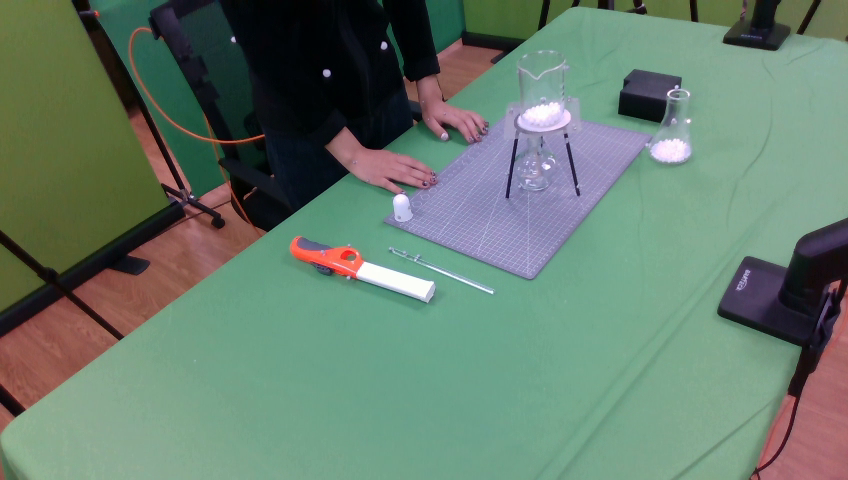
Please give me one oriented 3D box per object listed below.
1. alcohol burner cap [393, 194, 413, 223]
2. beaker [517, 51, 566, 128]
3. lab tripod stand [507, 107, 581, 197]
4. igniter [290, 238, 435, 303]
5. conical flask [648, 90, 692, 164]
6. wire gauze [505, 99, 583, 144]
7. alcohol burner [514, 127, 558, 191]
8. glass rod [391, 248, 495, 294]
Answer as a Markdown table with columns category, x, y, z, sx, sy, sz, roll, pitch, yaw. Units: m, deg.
| category | x | y | z | sx | sy | sz | roll | pitch | yaw |
| --- | --- | --- | --- | --- | --- | --- | --- | --- | --- |
| alcohol burner cap | -0.038 | -0.056 | 1.038 | 0.034 | 0.048 | 0.033 | -5 | 40 | 5 |
| beaker | 0.186 | -0.235 | 0.957 | 0.073 | 0.101 | 0.084 | 4 | 42 | 18 |
| lab tripod stand | 0.201 | -0.151 | 1.033 | 0.148 | 0.132 | 0.147 | -7 | 39 | 6 |
| igniter | -0.106 | 0.044 | 0.949 | 0.274 | 0.025 | 0.057 | 16 | 57 | 28 |
| conical flask | 0.437 | -0.199 | 1.057 | 0.075 | 0.122 | 0.075 | -5 | 40 | 5 |
| wire gauze | 0.195 | -0.199 | 0.988 | 0.121 | 0.011 | 0.124 | -3 | 41 | 13 |
| alcohol burner | 0.192 | -0.145 | 1.043 | 0.078 | 0.119 | 0.077 | -5 | 42 | 5 |
| glass rod | 0.026 | 0.045 | 0.936 | 0.198 | 0.008 | 0.008 | 21 | 49 | 31 |
